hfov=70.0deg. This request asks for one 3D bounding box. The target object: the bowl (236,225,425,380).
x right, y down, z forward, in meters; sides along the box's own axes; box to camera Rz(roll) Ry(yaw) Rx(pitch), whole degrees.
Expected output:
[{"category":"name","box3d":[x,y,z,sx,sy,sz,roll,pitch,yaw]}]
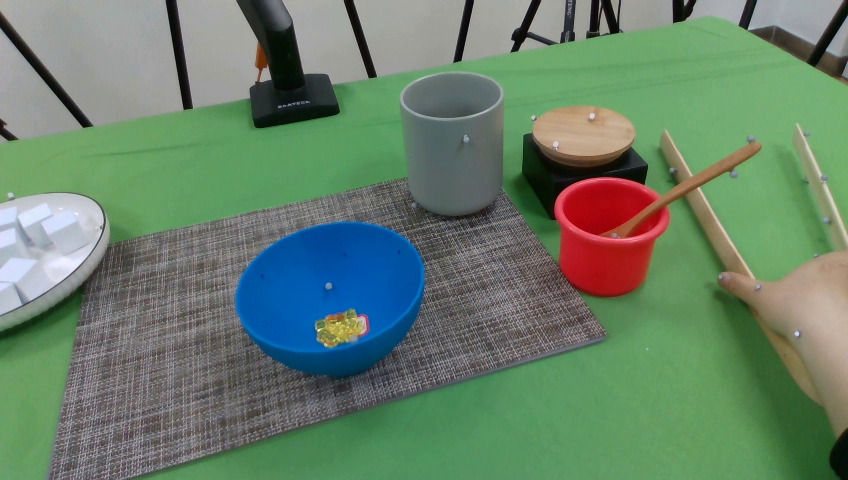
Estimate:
[{"category":"bowl","box3d":[-0.071,0.063,0.505,0.151,0.077,0.150,-3,40,3]}]

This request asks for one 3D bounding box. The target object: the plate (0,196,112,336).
[{"category":"plate","box3d":[-0.422,0.030,0.615,0.209,0.038,0.207,-4,40,3]}]

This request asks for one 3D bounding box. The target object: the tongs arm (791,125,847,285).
[{"category":"tongs arm","box3d":[0.373,-0.001,0.574,0.050,0.027,0.382,5,42,11]}]

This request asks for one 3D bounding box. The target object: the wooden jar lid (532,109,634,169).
[{"category":"wooden jar lid","box3d":[0.172,-0.109,0.659,0.108,0.021,0.107,-4,40,3]}]

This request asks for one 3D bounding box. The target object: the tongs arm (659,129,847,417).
[{"category":"tongs arm","box3d":[0.294,0.000,0.586,0.028,0.028,0.383,-2,40,0]}]

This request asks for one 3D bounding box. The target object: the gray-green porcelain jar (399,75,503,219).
[{"category":"gray-green porcelain jar","box3d":[0.031,-0.094,0.644,0.106,0.128,0.105,-3,40,3]}]

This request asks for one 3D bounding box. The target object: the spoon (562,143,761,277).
[{"category":"spoon","box3d":[0.204,-0.023,0.534,0.194,0.022,0.041,-41,30,29]}]
